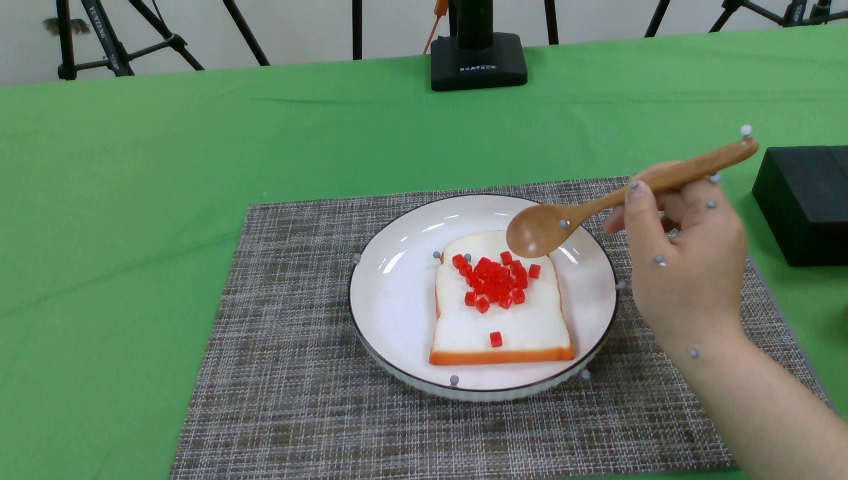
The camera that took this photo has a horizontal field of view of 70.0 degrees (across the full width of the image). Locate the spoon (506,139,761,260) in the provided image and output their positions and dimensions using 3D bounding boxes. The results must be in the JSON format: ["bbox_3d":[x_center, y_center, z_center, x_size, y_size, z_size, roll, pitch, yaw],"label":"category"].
[{"bbox_3d":[0.127,-0.025,0.408,0.022,0.193,0.041,2,73,-35],"label":"spoon"}]

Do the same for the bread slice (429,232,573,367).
[{"bbox_3d":[0.057,0.043,0.484,0.105,0.019,0.130,-2,45,3],"label":"bread slice"}]

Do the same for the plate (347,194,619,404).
[{"bbox_3d":[0.045,0.042,0.482,0.209,0.038,0.207,-3,44,3],"label":"plate"}]
